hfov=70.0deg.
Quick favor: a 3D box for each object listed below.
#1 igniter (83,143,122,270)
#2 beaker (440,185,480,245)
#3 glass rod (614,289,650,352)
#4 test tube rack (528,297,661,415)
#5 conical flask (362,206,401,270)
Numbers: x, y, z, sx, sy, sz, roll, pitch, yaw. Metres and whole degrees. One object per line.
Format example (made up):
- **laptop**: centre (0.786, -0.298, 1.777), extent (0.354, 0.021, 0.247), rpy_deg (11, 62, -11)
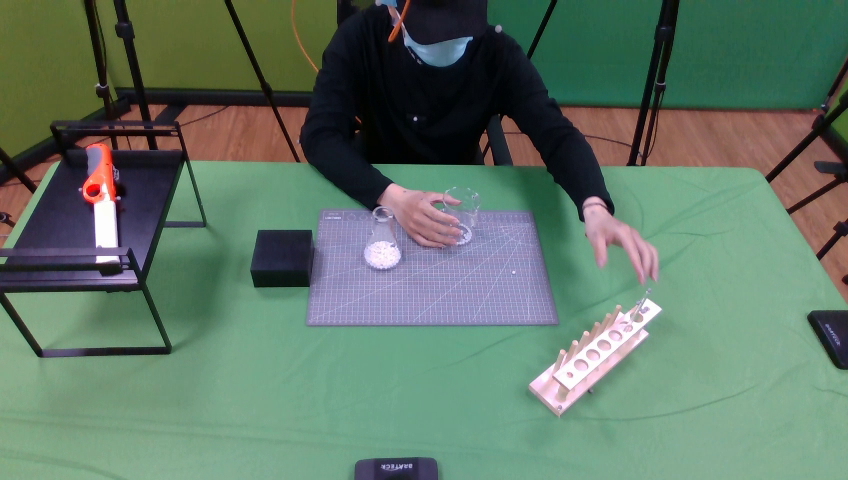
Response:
- **igniter**: centre (-0.508, -0.063, 0.962), extent (0.057, 0.025, 0.274), rpy_deg (-14, 53, -18)
- **beaker**: centre (0.070, -0.044, 1.188), extent (0.074, 0.101, 0.083), rpy_deg (-24, 53, -24)
- **glass rod**: centre (0.326, 0.133, 0.961), extent (0.008, 0.201, 0.008), rpy_deg (0, 54, 1)
- **test tube rack**: centre (0.285, 0.178, 1.005), extent (0.242, 0.085, 0.066), rpy_deg (-31, 56, -29)
- **conical flask**: centre (-0.078, -0.008, 1.127), extent (0.075, 0.122, 0.075), rpy_deg (2, 46, -2)
